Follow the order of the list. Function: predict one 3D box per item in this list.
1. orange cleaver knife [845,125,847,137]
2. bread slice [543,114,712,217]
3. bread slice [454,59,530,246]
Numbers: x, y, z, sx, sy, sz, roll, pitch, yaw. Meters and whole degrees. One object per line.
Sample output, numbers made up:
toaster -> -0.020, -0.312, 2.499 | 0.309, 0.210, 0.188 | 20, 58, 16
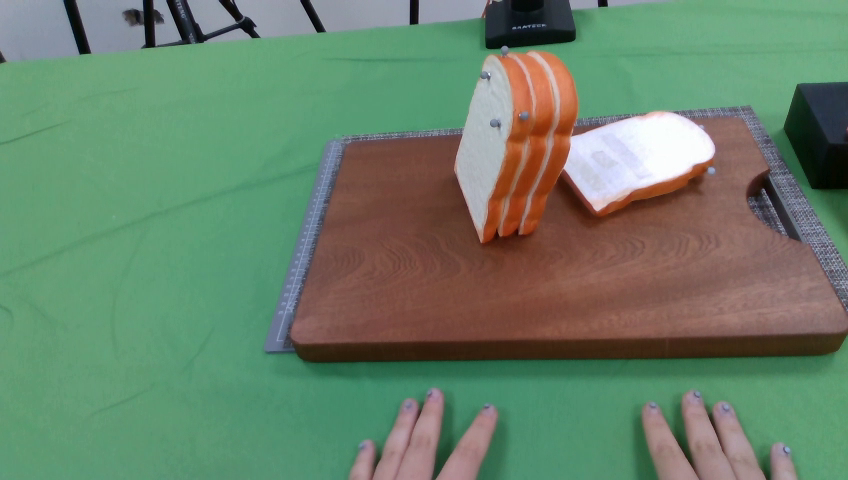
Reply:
orange cleaver knife -> 0.386, -0.022, 0.472 | 0.077, 0.012, 0.209 | 4, 61, 11
bread slice -> 0.189, -0.071, 0.548 | 0.131, 0.019, 0.103 | -19, 42, -3
bread slice -> 0.055, -0.080, 0.508 | 0.018, 0.135, 0.106 | -1, 40, -14
